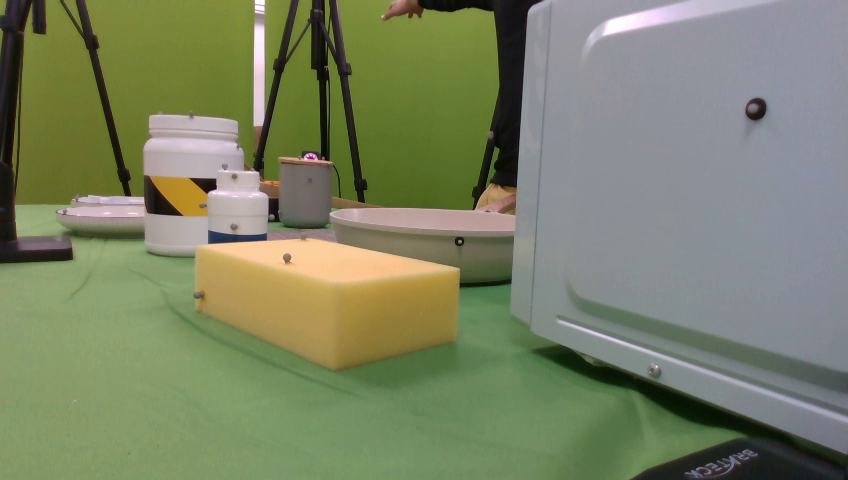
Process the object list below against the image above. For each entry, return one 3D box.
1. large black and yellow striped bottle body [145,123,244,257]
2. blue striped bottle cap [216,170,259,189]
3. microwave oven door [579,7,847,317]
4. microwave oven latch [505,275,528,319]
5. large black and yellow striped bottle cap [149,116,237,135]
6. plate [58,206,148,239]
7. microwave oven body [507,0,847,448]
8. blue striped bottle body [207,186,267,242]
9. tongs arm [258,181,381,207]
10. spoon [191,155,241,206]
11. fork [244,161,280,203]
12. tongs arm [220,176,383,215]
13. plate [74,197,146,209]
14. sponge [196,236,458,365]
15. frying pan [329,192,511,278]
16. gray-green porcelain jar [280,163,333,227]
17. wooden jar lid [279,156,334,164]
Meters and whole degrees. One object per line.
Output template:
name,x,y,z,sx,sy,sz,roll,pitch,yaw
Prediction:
large black and yellow striped bottle body,-0.320,-0.075,0.851,0.131,0.184,0.130,2,8,0
blue striped bottle cap,-0.201,-0.066,0.654,0.044,0.020,0.044,0,5,0
microwave oven door,0.294,-0.067,0.570,0.358,0.243,0.039,-3,9,-31
microwave oven latch,0.100,0.042,0.471,0.079,0.029,0.030,-1,7,-28
large black and yellow striped bottle cap,-0.319,-0.158,0.841,0.115,0.019,0.115,3,7,0
plate,-0.496,-0.030,1.022,0.209,0.038,0.209,2,8,0
microwave oven body,0.331,-0.042,0.425,0.444,0.260,0.324,-2,8,-31
blue striped bottle body,-0.204,-0.016,0.661,0.063,0.120,0.063,2,7,0
tongs arm,-0.241,-0.095,1.374,0.387,0.026,0.050,9,0,-37
spoon,-0.489,-0.136,1.417,0.041,0.021,0.194,2,-35,19
fork,-0.398,-0.145,1.489,0.028,0.018,0.208,22,-23,47
tongs arm,-0.285,-0.104,1.445,0.389,0.027,0.028,9,-4,-23
plate,-0.596,-0.062,1.238,0.208,0.039,0.207,2,8,0
sponge,-0.087,0.039,0.500,0.206,0.061,0.119,8,10,44
frying pan,0.071,-0.030,0.883,0.305,0.102,0.490,7,17,27
gray-green porcelain jar,-0.238,-0.092,1.221,0.106,0.126,0.106,1,7,0
wooden jar lid,-0.237,-0.154,1.213,0.108,0.020,0.108,6,9,-1
